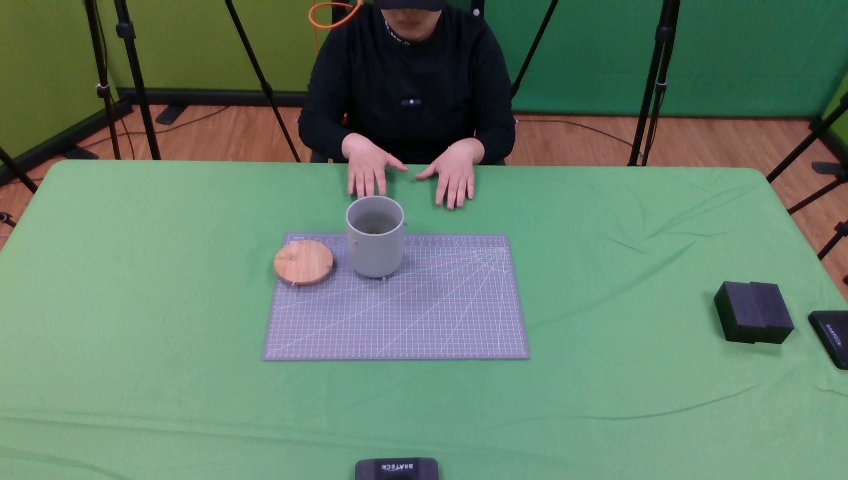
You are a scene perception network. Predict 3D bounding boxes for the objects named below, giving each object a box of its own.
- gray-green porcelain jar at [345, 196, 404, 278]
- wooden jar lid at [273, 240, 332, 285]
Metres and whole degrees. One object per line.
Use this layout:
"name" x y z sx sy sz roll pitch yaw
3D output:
"gray-green porcelain jar" -0.091 -0.001 1.117 0.106 0.127 0.105 2 46 -2
"wooden jar lid" -0.227 0.044 1.137 0.108 0.021 0.107 3 47 -3
